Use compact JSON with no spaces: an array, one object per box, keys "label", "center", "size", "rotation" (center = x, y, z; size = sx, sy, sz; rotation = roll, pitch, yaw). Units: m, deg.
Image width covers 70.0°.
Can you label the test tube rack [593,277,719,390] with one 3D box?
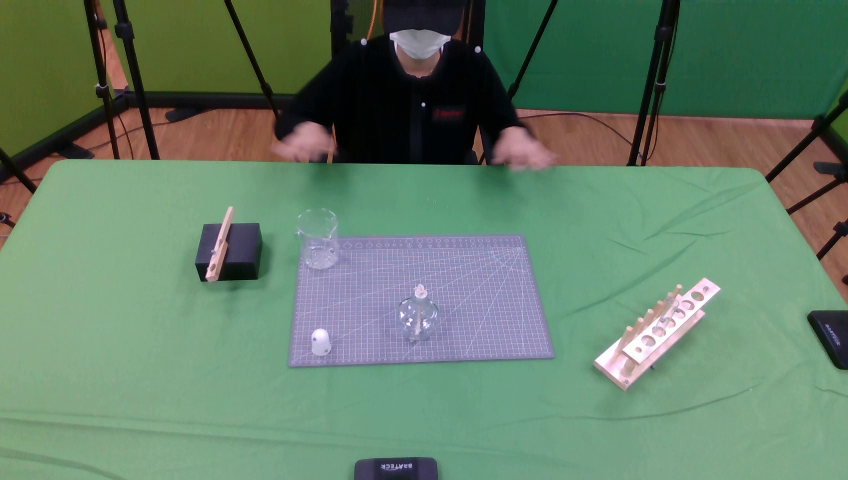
[{"label":"test tube rack","center":[0.401,0.148,1.043],"size":[0.242,0.085,0.066],"rotation":[-30,55,-29]}]

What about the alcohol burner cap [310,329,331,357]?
[{"label":"alcohol burner cap","center":[-0.173,0.168,1.005],"size":[0.034,0.048,0.033],"rotation":[2,46,-2]}]

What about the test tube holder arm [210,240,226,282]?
[{"label":"test tube holder arm","center":[-0.363,0.036,1.070],"size":[0.010,0.015,0.087],"rotation":[-4,47,0]}]

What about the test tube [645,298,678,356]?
[{"label":"test tube","center":[0.378,0.143,0.976],"size":[0.017,0.151,0.017],"rotation":[1,48,-1]}]

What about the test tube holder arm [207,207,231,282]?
[{"label":"test tube holder arm","center":[-0.371,0.004,1.100],"size":[0.013,0.015,0.177],"rotation":[-4,47,-1]}]

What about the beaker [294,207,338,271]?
[{"label":"beaker","center":[-0.196,0.003,1.123],"size":[0.074,0.101,0.083],"rotation":[-23,53,-24]}]

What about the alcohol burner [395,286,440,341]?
[{"label":"alcohol burner","center":[-0.010,0.116,1.018],"size":[0.078,0.119,0.077],"rotation":[3,47,-3]}]
